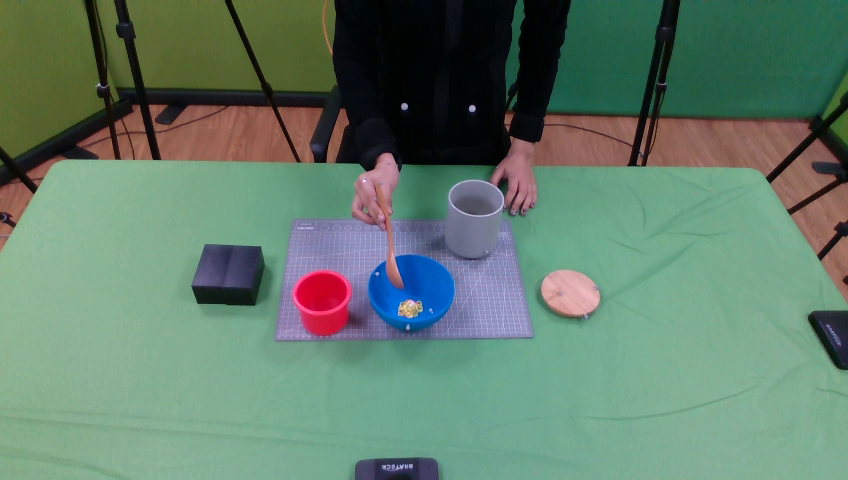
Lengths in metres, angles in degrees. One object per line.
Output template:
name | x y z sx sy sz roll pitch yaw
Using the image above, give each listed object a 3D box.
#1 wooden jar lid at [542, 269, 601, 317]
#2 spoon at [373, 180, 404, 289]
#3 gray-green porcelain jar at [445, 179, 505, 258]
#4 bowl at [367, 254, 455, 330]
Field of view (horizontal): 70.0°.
wooden jar lid | 0.272 0.100 1.121 0.108 0.021 0.107 3 47 -3
spoon | -0.062 -0.007 1.019 0.022 0.194 0.041 -15 14 -30
gray-green porcelain jar | 0.095 -0.037 1.162 0.106 0.127 0.105 2 46 -2
bowl | -0.023 0.104 1.053 0.151 0.077 0.150 2 46 -2
